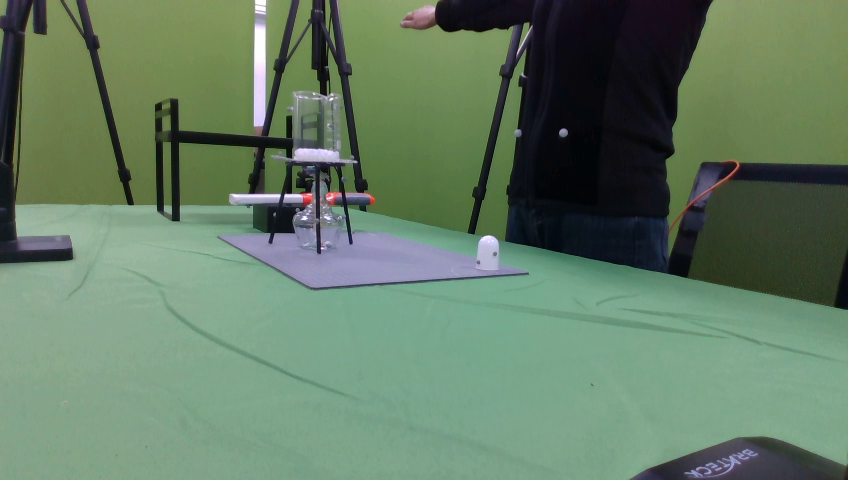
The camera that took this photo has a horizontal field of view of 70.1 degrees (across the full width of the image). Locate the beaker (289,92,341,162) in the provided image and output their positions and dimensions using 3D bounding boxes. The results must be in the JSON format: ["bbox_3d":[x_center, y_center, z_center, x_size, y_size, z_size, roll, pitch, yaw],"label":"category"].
[{"bbox_3d":[-0.160,-0.167,0.902,0.074,0.100,0.083,-3,9,-30],"label":"beaker"}]

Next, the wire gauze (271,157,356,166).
[{"bbox_3d":[-0.167,-0.120,0.917,0.125,0.011,0.121,-2,6,-9],"label":"wire gauze"}]

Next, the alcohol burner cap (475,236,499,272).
[{"bbox_3d":[0.084,0.018,0.799,0.034,0.048,0.034,2,7,0],"label":"alcohol burner cap"}]

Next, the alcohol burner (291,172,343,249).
[{"bbox_3d":[-0.162,-0.045,0.922,0.078,0.119,0.078,5,7,0],"label":"alcohol burner"}]

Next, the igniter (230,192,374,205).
[{"bbox_3d":[-0.228,-0.079,1.164,0.278,0.025,0.057,-2,15,-30],"label":"igniter"}]

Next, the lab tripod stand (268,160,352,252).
[{"bbox_3d":[-0.171,-0.055,0.921,0.148,0.131,0.148,1,8,0],"label":"lab tripod stand"}]
